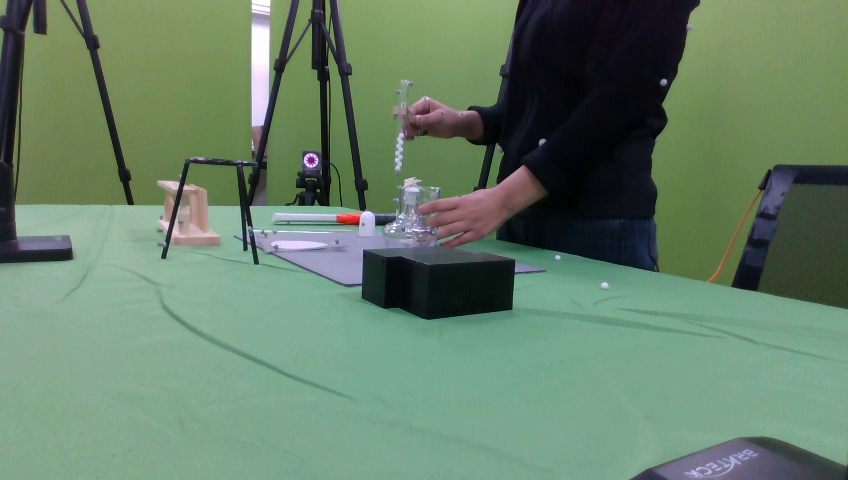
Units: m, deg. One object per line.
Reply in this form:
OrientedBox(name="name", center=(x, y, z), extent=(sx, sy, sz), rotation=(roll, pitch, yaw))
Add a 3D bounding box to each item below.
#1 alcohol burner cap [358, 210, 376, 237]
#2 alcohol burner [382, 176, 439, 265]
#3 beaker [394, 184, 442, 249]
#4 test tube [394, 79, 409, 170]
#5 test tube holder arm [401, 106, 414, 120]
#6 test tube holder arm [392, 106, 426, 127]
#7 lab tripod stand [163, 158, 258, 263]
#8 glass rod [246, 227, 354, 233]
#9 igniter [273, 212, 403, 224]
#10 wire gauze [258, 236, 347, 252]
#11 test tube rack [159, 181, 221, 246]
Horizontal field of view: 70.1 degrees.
OrientedBox(name="alcohol burner cap", center=(-0.104, -0.030, 1.098), extent=(0.034, 0.048, 0.034), rotation=(2, 7, 0))
OrientedBox(name="alcohol burner", center=(-0.018, -0.027, 0.818), extent=(0.078, 0.119, 0.078), rotation=(3, 10, 0))
OrientedBox(name="beaker", center=(-0.008, -0.038, 0.964), extent=(0.074, 0.100, 0.083), rotation=(-4, 10, -37))
OrientedBox(name="test tube", center=(-0.037, -0.191, 0.999), extent=(0.017, 0.150, 0.017), rotation=(4, 3, 0))
OrientedBox(name="test tube holder arm", center=(-0.027, -0.213, 1.020), extent=(0.010, 0.015, 0.088), rotation=(7, 5, 6))
OrientedBox(name="test tube holder arm", center=(-0.024, -0.217, 1.065), extent=(0.013, 0.015, 0.179), rotation=(8, 5, 13))
OrientedBox(name="lab tripod stand", center=(-0.265, -0.041, 0.802), extent=(0.148, 0.131, 0.148), rotation=(4, 7, 0))
OrientedBox(name="glass rod", center=(-0.224, -0.017, 1.109), extent=(0.201, 0.008, 0.008), rotation=(1, 7, -27))
OrientedBox(name="igniter", center=(-0.179, -0.048, 1.290), extent=(0.278, 0.025, 0.057), rotation=(-1, -2, -24))
OrientedBox(name="wire gauze", center=(-0.189, 0.005, 0.931), extent=(0.122, 0.011, 0.124), rotation=(1, 7, -21))
OrientedBox(name="test tube rack", center=(-0.395, -0.050, 1.010), extent=(0.067, 0.085, 0.241), rotation=(-2, 8, -28))
